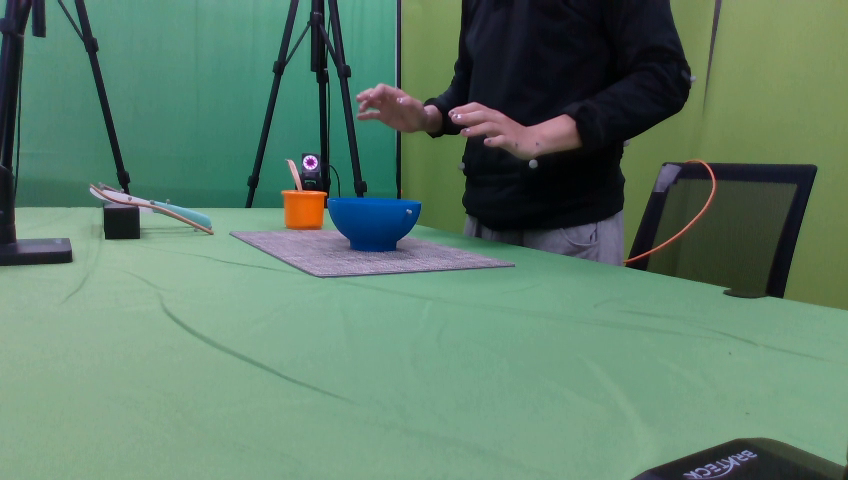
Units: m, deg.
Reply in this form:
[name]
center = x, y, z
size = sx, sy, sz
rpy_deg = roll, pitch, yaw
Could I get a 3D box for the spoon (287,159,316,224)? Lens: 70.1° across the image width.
[spoon]
center = -0.261, -0.104, 1.263
size = 0.042, 0.193, 0.021
rpy_deg = -1, -37, -28

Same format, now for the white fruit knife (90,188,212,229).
[white fruit knife]
center = -0.478, -0.058, 1.073
size = 0.208, 0.027, 0.016
rpy_deg = 17, -4, -30

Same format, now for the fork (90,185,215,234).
[fork]
center = -0.452, -0.049, 1.018
size = 0.208, 0.018, 0.028
rpy_deg = 21, -7, -33

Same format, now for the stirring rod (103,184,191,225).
[stirring rod]
center = -0.507, -0.063, 1.129
size = 0.177, 0.006, 0.014
rpy_deg = 27, 1, -31

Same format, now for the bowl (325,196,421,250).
[bowl]
center = -0.080, -0.027, 0.957
size = 0.151, 0.077, 0.151
rpy_deg = 2, 7, 0
